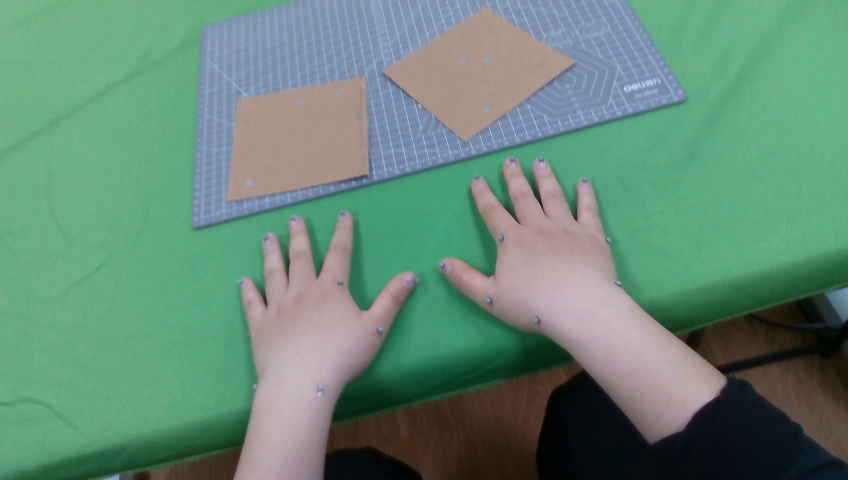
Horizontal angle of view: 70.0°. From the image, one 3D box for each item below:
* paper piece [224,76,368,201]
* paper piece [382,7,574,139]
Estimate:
[{"bbox_3d":[-0.120,-0.102,0.580,0.138,0.009,0.134,-9,52,6],"label":"paper piece"},{"bbox_3d":[0.049,-0.168,0.588,0.135,0.004,0.134,-36,57,-13],"label":"paper piece"}]
